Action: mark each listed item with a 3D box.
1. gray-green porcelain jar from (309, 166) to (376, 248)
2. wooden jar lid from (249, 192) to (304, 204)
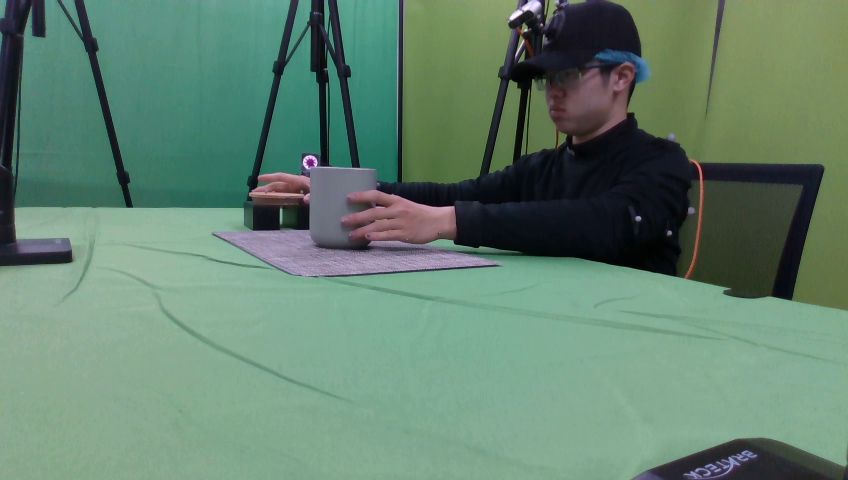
[{"bbox_3d":[-0.130,-0.054,0.966,0.106,0.126,0.106,2,8,0],"label":"gray-green porcelain jar"},{"bbox_3d":[-0.297,-0.086,1.220,0.108,0.020,0.108,4,7,0],"label":"wooden jar lid"}]
